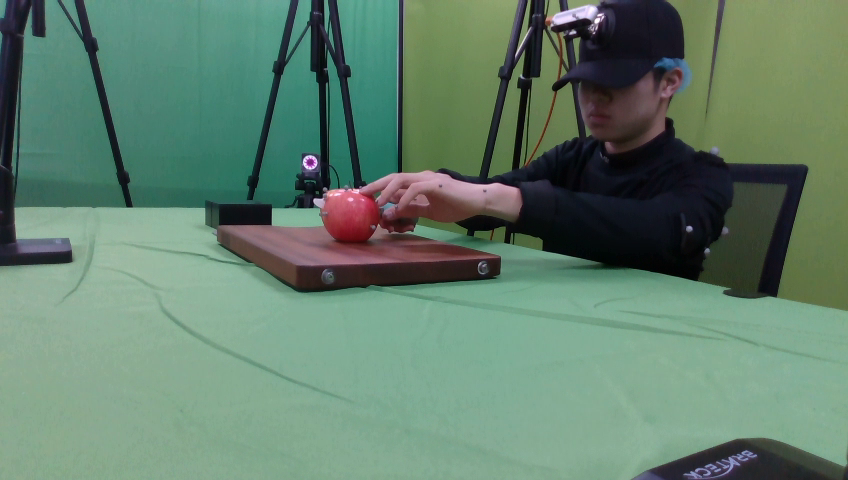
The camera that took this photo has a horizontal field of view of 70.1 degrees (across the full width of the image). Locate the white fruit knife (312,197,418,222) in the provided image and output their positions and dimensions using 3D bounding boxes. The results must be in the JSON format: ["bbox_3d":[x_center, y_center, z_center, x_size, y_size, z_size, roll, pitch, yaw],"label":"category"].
[{"bbox_3d":[-0.080,-0.048,0.890,0.016,0.027,0.208,13,6,42],"label":"white fruit knife"}]

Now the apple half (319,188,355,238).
[{"bbox_3d":[-0.124,-0.039,0.867,0.032,0.081,0.082,7,9,42],"label":"apple half"}]

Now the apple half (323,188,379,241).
[{"bbox_3d":[-0.094,-0.034,0.841,0.053,0.074,0.081,15,10,41],"label":"apple half"}]
